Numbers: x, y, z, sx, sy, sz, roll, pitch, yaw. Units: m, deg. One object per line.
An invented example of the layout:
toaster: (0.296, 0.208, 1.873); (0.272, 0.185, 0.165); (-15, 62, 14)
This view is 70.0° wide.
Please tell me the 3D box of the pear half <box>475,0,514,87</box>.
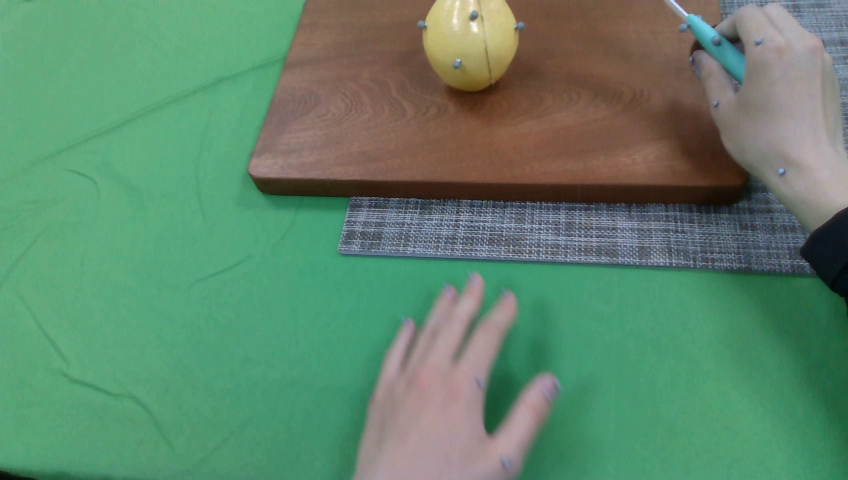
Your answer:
pear half: (0.058, -0.172, 0.504); (0.031, 0.089, 0.069); (-11, 54, 2)

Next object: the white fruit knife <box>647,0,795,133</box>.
white fruit knife: (0.197, -0.156, 0.454); (0.016, 0.027, 0.206); (-45, 77, 17)

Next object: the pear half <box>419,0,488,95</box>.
pear half: (0.022, -0.172, 0.499); (0.056, 0.111, 0.075); (-12, 53, 2)
